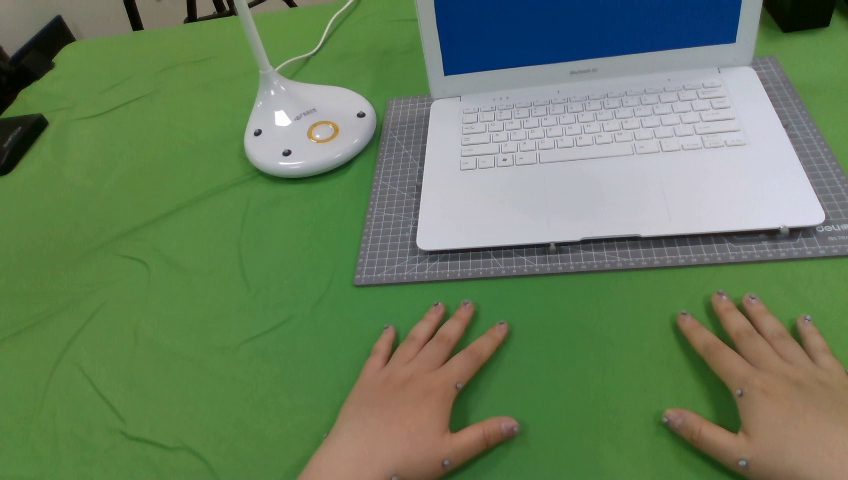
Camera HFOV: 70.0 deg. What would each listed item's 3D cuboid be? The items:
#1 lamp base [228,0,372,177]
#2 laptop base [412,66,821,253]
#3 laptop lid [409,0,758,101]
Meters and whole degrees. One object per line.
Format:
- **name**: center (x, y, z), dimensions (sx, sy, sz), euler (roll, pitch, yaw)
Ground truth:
- **lamp base**: center (-0.163, -0.187, 0.675), dimensions (0.177, 0.182, 0.160), euler (29, 59, 36)
- **laptop base**: center (0.169, -0.083, 0.612), dimensions (0.354, 0.023, 0.233), euler (-4, 50, 10)
- **laptop lid**: center (0.158, -0.262, 0.616), dimensions (0.356, 0.244, 0.013), euler (-5, 39, 10)
